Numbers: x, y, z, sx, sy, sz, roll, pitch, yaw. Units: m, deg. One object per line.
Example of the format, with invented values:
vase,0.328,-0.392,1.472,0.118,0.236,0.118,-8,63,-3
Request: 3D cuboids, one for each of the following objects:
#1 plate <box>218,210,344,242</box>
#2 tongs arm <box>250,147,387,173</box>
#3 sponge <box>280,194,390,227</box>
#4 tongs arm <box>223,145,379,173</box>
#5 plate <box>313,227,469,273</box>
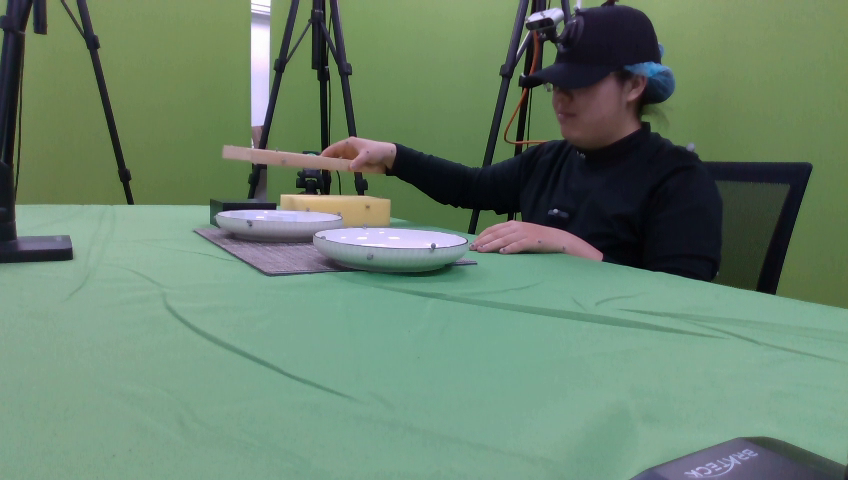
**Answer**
plate,-0.241,-0.024,1.026,0.208,0.039,0.207,3,7,0
tongs arm,-0.198,-0.161,1.247,0.028,0.028,0.390,5,4,37
sponge,-0.189,-0.063,1.291,0.208,0.061,0.117,-2,9,-35
tongs arm,-0.238,-0.169,1.282,0.050,0.026,0.387,10,7,41
plate,-0.044,0.012,0.807,0.209,0.038,0.209,2,7,0
